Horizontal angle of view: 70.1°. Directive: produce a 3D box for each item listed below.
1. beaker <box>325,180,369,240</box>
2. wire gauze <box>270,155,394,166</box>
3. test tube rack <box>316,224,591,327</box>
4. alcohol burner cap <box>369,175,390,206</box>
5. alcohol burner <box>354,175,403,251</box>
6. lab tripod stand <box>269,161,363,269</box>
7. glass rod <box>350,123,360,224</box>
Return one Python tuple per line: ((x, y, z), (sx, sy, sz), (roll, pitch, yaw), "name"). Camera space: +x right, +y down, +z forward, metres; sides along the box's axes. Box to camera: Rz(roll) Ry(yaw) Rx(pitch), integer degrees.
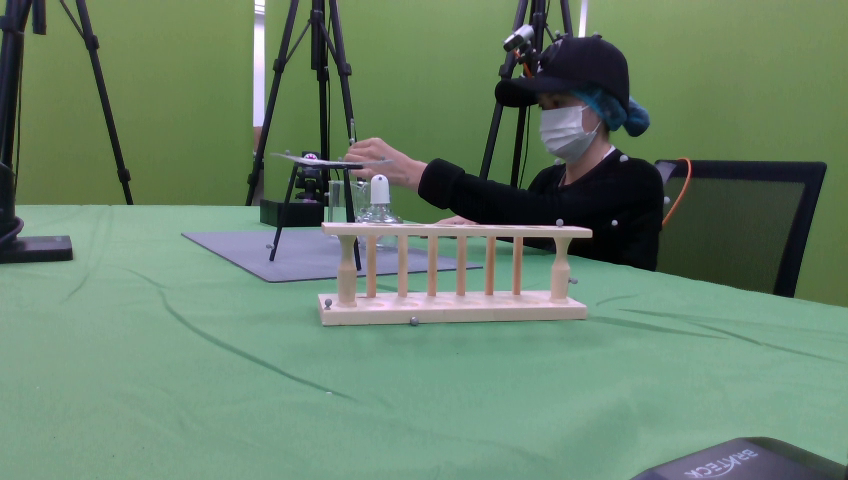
((-0.133, -0.052, 1.058), (0.074, 0.100, 0.083), (-3, 10, -36), "beaker")
((-0.122, -0.102, 0.785), (0.122, 0.011, 0.124), (-3, 10, -39), "wire gauze")
((0.026, 0.028, 0.555), (0.243, 0.085, 0.066), (1, 7, -14), "test tube rack")
((-0.069, -0.077, 0.939), (0.034, 0.048, 0.034), (-1, 7, 0), "alcohol burner cap")
((-0.072, -0.042, 0.944), (0.078, 0.119, 0.078), (1, 9, 0), "alcohol burner")
((-0.125, -0.036, 0.794), (0.148, 0.131, 0.148), (5, 7, 0), "lab tripod stand")
((-0.121, -0.104, 1.058), (0.008, 0.199, 0.008), (-2, 14, 1), "glass rod")
